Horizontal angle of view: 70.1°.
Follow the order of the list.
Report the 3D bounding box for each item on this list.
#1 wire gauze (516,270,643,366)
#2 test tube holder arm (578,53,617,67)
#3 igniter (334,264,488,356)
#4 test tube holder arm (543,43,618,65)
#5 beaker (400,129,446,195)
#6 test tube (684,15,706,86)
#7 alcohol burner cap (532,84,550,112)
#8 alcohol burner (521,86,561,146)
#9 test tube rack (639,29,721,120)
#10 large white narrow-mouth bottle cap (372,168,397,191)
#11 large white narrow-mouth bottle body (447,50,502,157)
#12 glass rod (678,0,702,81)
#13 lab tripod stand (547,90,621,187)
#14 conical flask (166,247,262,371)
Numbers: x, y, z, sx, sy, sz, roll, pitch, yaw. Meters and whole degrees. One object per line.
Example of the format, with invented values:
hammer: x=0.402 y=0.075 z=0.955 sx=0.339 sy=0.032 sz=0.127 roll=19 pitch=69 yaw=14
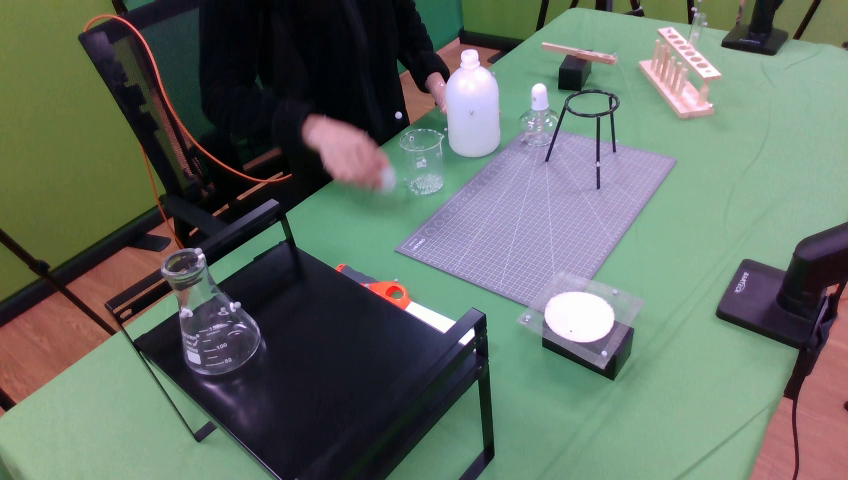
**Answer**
wire gauze: x=0.200 y=0.093 z=0.777 sx=0.124 sy=0.011 sz=0.122 roll=23 pitch=49 yaw=32
test tube holder arm: x=0.376 y=-0.393 z=1.314 sx=0.087 sy=0.015 sz=0.010 roll=25 pitch=50 yaw=32
igniter: x=-0.030 y=0.095 z=0.871 sx=0.274 sy=0.025 sz=0.057 roll=22 pitch=59 yaw=31
test tube holder arm: x=0.344 y=-0.413 z=1.340 sx=0.177 sy=0.015 sz=0.013 roll=25 pitch=49 yaw=31
beaker: x=0.004 y=-0.139 z=1.087 sx=0.084 sy=0.101 sz=0.073 roll=-20 pitch=42 yaw=-15
test tube: x=0.540 y=-0.378 z=1.215 sx=0.017 sy=0.151 sz=0.017 roll=-2 pitch=44 yaw=3
alcohol burner cap: x=0.218 y=-0.269 z=1.133 sx=0.034 sy=0.048 sz=0.033 roll=-8 pitch=36 yaw=7
alcohol burner: x=0.223 y=-0.241 z=1.155 sx=0.078 sy=0.119 sz=0.077 roll=-5 pitch=43 yaw=5
test tube rack: x=0.527 y=-0.351 z=1.262 sx=0.067 sy=0.085 sz=0.241 roll=-8 pitch=40 yaw=1
large white narrow-mouth bottle cap: x=-0.061 y=-0.094 z=0.932 sx=0.038 sy=0.024 sz=0.037 roll=-4 pitch=40 yaw=4
large white narrow-mouth bottle body: x=0.094 y=-0.261 z=1.142 sx=0.102 sy=0.195 sz=0.101 roll=-4 pitch=40 yaw=4
glass rod: x=0.543 y=-0.417 z=1.233 sx=0.008 sy=0.200 sz=0.008 roll=1 pitch=39 yaw=0
lab tripod stand: x=0.289 y=-0.184 z=1.062 sx=0.148 sy=0.132 sz=0.147 roll=-6 pitch=41 yaw=6
conical flask: x=-0.208 y=0.064 z=0.584 sx=0.075 sy=0.122 sz=0.075 roll=-5 pitch=40 yaw=4
